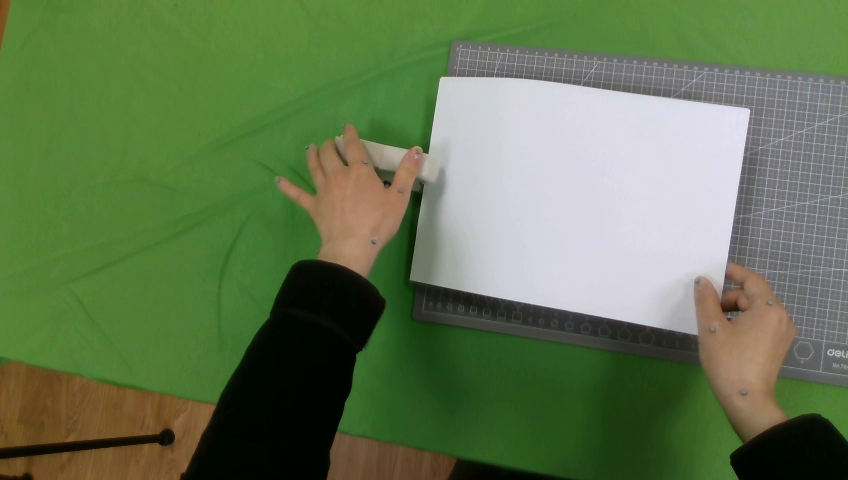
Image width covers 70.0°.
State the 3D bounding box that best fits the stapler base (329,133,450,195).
[{"bbox_3d":[-0.039,-0.082,0.635,0.130,0.024,0.041,15,85,10],"label":"stapler base"}]

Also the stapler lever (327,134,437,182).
[{"bbox_3d":[-0.045,-0.084,0.611,0.118,0.040,0.027,15,85,11],"label":"stapler lever"}]
